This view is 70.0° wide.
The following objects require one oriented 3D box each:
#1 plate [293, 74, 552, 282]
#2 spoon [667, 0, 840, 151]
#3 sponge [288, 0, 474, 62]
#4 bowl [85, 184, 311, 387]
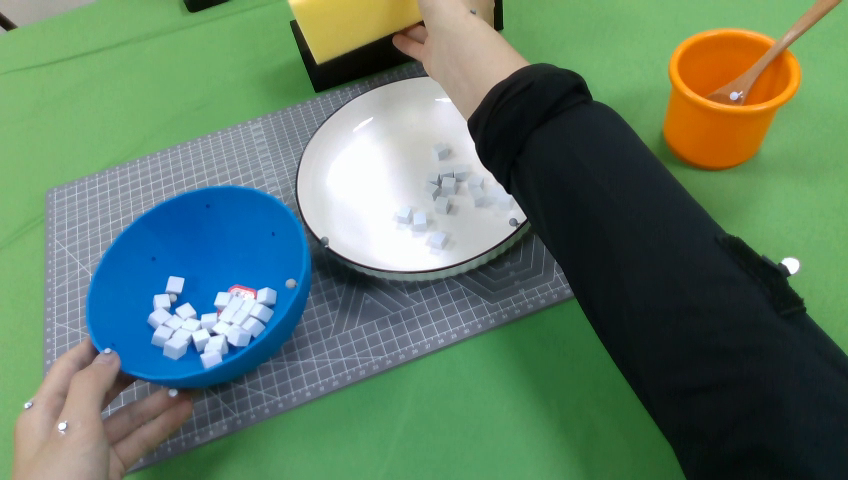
[{"bbox_3d":[-0.002,-0.052,0.497,0.209,0.038,0.207,-4,57,6],"label":"plate"},{"bbox_3d":[0.262,-0.141,0.452,0.022,0.194,0.041,4,46,-44],"label":"spoon"},{"bbox_3d":[-0.028,-0.252,0.556,0.207,0.061,0.117,-23,48,-4],"label":"sponge"},{"bbox_3d":[-0.146,0.043,0.433,0.151,0.077,0.150,-4,56,6],"label":"bowl"}]
